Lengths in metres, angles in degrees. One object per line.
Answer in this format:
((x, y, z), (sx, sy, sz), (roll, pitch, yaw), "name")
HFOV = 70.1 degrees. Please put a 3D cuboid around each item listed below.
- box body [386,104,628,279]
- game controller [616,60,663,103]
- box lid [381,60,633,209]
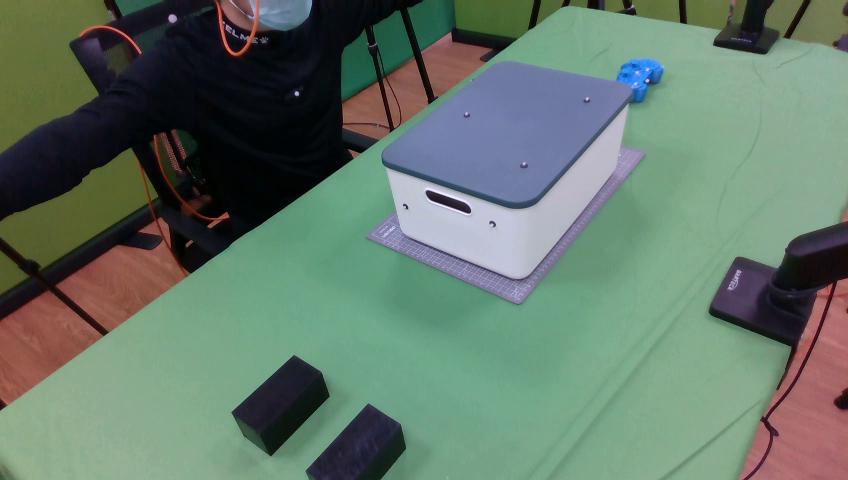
((0.142, -0.125, 0.982), (0.252, 0.161, 0.365), (22, 48, 29), "box body")
((0.442, -0.345, 1.288), (0.096, 0.052, 0.155), (25, 50, 27), "game controller")
((0.137, -0.182, 0.935), (0.261, 0.015, 0.372), (22, 48, 29), "box lid")
